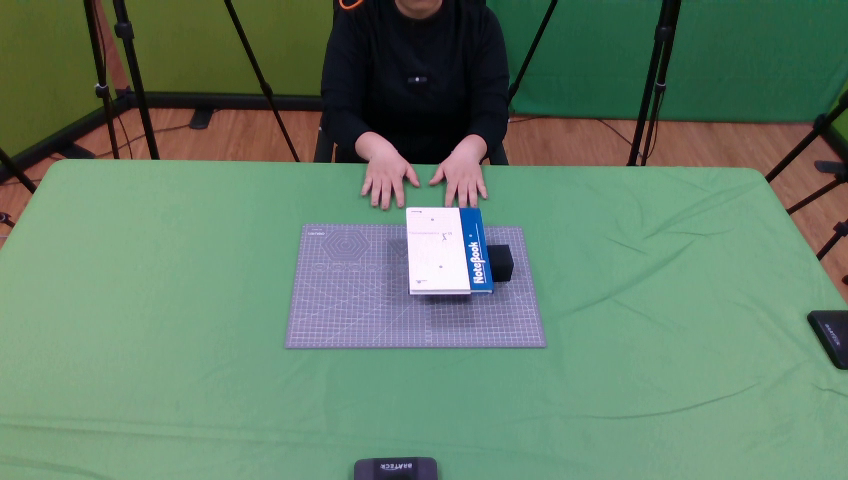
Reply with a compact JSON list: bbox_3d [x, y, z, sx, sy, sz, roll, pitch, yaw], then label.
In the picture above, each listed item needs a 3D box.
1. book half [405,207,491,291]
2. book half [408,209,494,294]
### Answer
[{"bbox_3d":[0.039,0.011,1.113,0.143,0.007,0.208,0,46,-5],"label":"book half"},{"bbox_3d":[0.042,0.016,1.119,0.149,0.016,0.209,0,46,-5],"label":"book half"}]
